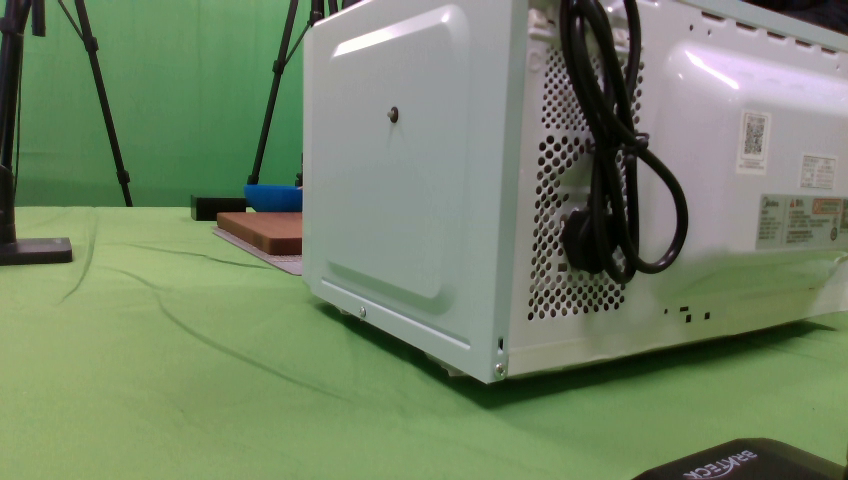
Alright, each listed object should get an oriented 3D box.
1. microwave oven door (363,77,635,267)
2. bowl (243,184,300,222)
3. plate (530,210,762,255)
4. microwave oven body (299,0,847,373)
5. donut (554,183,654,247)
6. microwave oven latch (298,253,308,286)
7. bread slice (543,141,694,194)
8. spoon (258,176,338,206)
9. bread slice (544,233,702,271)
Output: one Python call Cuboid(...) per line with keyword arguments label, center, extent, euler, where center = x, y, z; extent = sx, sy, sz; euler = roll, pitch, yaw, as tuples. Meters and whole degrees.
Cuboid(label="microwave oven door", center=(0.091, -0.098, 0.823), extent=(0.355, 0.243, 0.039), euler=(4, 8, 15))
Cuboid(label="bowl", center=(-0.322, -0.081, 1.334), extent=(0.151, 0.077, 0.151), euler=(3, 7, 0))
Cuboid(label="plate", center=(0.206, -0.009, 0.581), extent=(0.208, 0.039, 0.207), euler=(0, 3, 0))
Cuboid(label="microwave oven body", center=(0.152, -0.055, 0.543), extent=(0.444, 0.260, 0.324), euler=(-2, 7, -33))
Cuboid(label="donut", center=(0.182, -0.026, 0.614), extent=(0.099, 0.048, 0.099), euler=(13, -13, 3))
Cuboid(label="microwave oven latch", center=(-0.081, 0.027, 0.582), extent=(0.079, 0.029, 0.030), euler=(-1, 7, -32))
Cuboid(label="bread slice", center=(0.202, -0.074, 0.614), extent=(0.133, 0.018, 0.107), euler=(23, 15, 35))
Cuboid(label="spoon", center=(-0.279, -0.112, 1.356), extent=(0.194, 0.021, 0.041), euler=(-27, 18, -27))
Cuboid(label="bread slice", center=(0.200, 0.013, 0.590), extent=(0.105, 0.019, 0.131), euler=(10, -12, -29))
